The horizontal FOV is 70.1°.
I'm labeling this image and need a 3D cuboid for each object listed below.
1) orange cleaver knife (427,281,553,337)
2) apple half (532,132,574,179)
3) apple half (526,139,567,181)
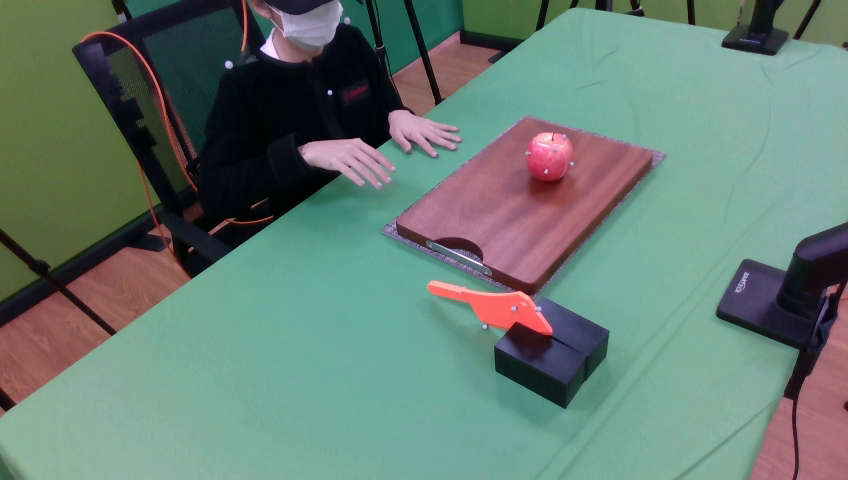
[{"bbox_3d":[0.082,0.090,0.810,0.012,0.077,0.209,-42,28,-29],"label":"orange cleaver knife"},{"bbox_3d":[0.222,-0.147,1.031,0.080,0.075,0.053,20,44,35],"label":"apple half"},{"bbox_3d":[0.198,-0.127,1.009,0.080,0.081,0.033,24,46,32],"label":"apple half"}]
